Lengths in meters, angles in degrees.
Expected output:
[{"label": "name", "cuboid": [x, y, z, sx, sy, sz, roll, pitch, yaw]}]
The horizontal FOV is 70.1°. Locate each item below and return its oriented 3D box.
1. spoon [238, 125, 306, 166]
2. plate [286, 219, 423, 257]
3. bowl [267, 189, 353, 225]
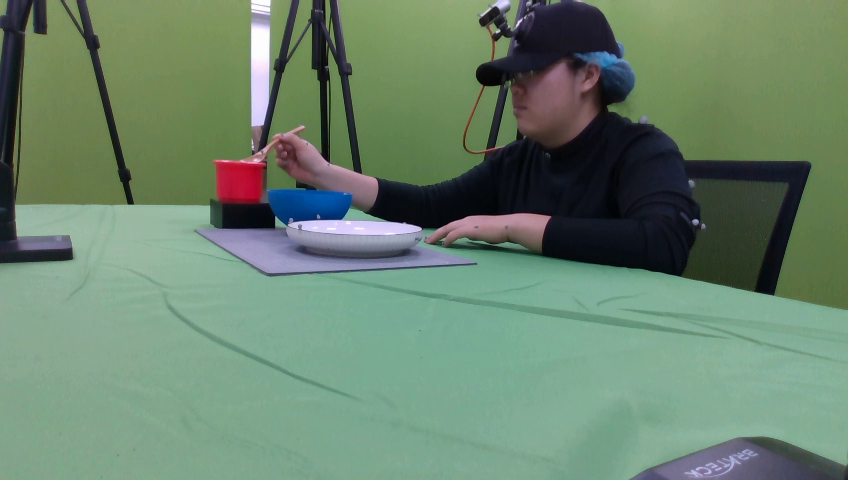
[{"label": "spoon", "cuboid": [-0.295, -0.191, 1.202, 0.041, 0.021, 0.194, 12, 40, 28]}, {"label": "plate", "cuboid": [-0.105, -0.004, 0.922, 0.208, 0.039, 0.207, 3, 8, 0]}, {"label": "bowl", "cuboid": [-0.204, -0.049, 1.079, 0.151, 0.077, 0.151, 3, 8, 0]}]
